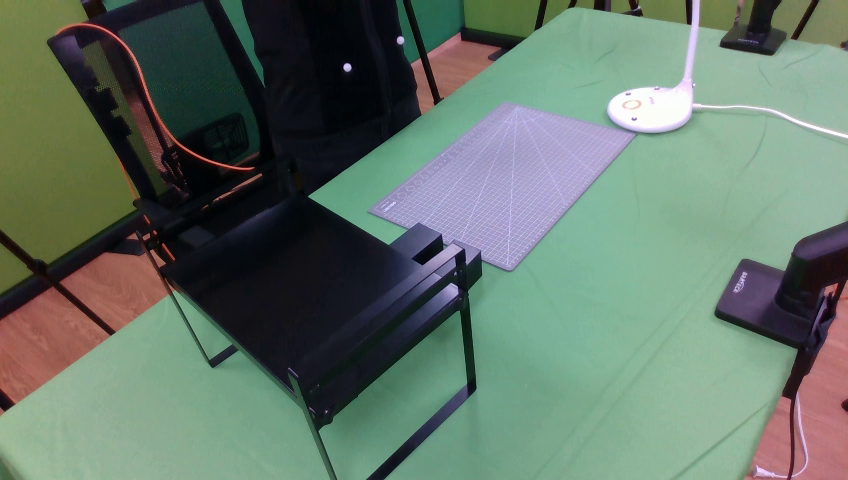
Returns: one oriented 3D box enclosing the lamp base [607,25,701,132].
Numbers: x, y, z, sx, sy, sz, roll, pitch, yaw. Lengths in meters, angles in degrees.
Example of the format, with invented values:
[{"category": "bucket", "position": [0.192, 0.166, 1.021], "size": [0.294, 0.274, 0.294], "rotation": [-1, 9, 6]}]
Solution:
[{"category": "lamp base", "position": [0.454, -0.321, 1.160], "size": [0.179, 0.181, 0.159], "rotation": [-6, 41, -2]}]
